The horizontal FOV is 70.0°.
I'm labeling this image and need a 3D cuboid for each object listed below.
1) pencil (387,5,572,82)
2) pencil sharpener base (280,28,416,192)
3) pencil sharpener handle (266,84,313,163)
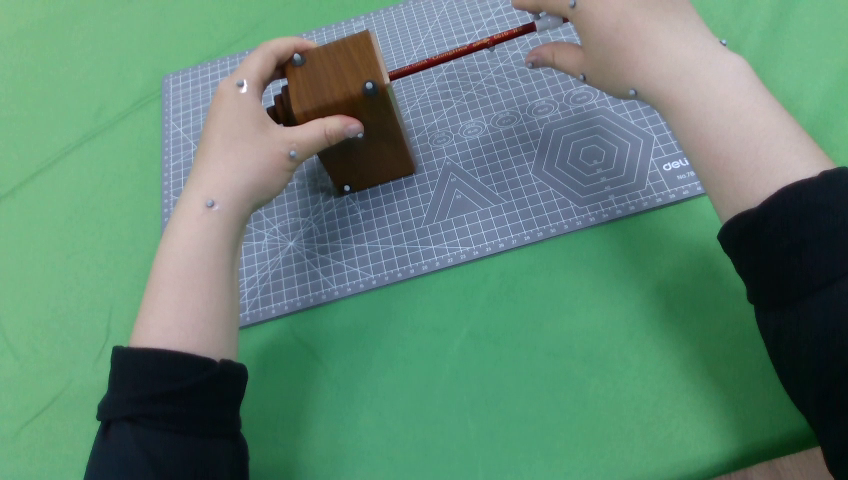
[{"bbox_3d":[0.015,-0.133,0.440,0.194,0.012,0.012,-20,60,3],"label":"pencil"},{"bbox_3d":[-0.057,-0.095,0.468,0.077,0.108,0.061,-19,59,2],"label":"pencil sharpener base"},{"bbox_3d":[-0.107,-0.084,0.459,0.030,0.068,0.035,-19,57,2],"label":"pencil sharpener handle"}]
